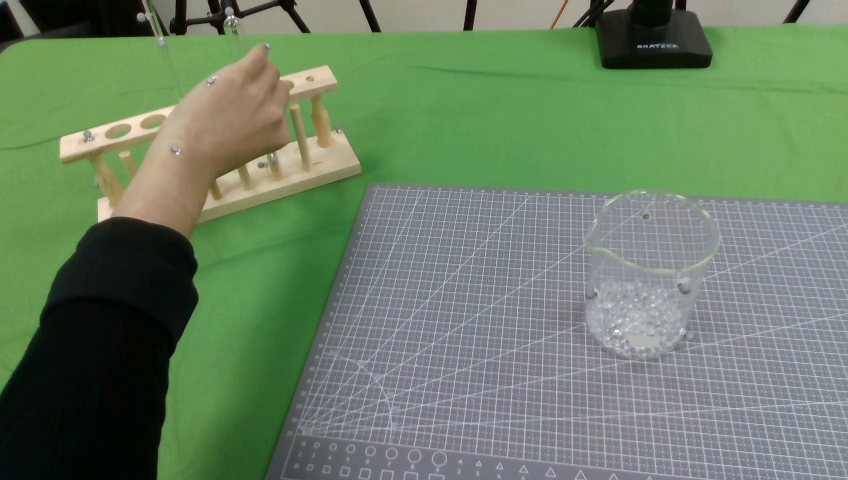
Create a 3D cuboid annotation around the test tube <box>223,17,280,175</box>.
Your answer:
[{"bbox_3d":[-0.146,-0.118,0.519,0.017,0.151,0.017,-1,46,1],"label":"test tube"}]

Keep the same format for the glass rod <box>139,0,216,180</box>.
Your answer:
[{"bbox_3d":[-0.208,-0.123,0.514,0.008,0.201,0.008,0,49,1],"label":"glass rod"}]

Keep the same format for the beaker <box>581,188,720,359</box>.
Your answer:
[{"bbox_3d":[0.144,0.027,0.411,0.084,0.101,0.073,-9,45,-2],"label":"beaker"}]

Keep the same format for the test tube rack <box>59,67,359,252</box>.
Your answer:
[{"bbox_3d":[-0.190,-0.077,0.561,0.243,0.086,0.066,-19,47,-13],"label":"test tube rack"}]
